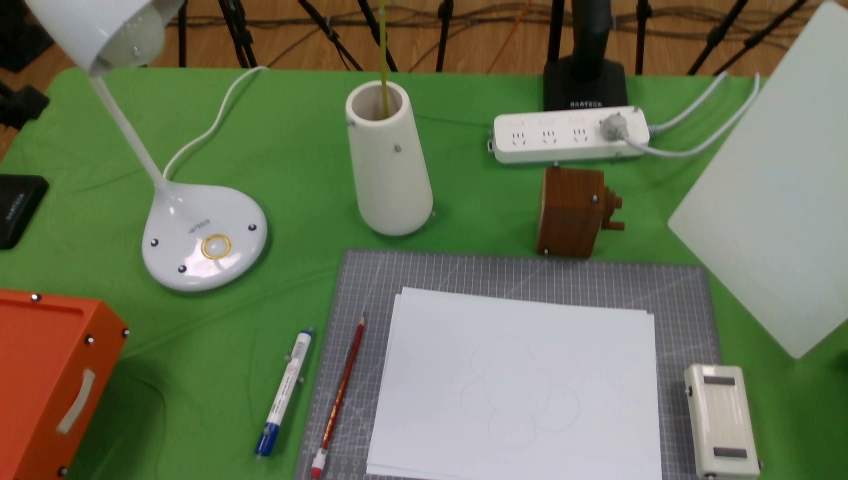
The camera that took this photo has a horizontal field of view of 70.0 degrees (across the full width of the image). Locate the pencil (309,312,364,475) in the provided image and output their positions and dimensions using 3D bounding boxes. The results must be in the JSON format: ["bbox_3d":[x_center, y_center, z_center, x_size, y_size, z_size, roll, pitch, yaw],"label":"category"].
[{"bbox_3d":[-0.094,0.163,0.676,0.012,0.012,0.192,8,56,10],"label":"pencil"}]

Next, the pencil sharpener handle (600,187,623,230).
[{"bbox_3d":[0.225,-0.035,0.716,0.030,0.068,0.035,5,55,7],"label":"pencil sharpener handle"}]

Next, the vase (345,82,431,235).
[{"bbox_3d":[-0.046,-0.093,0.733,0.098,0.202,0.097,-3,55,4],"label":"vase"}]

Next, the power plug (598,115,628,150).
[{"bbox_3d":[0.251,-0.136,0.813,0.035,0.053,0.072,6,58,9],"label":"power plug"}]

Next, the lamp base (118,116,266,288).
[{"bbox_3d":[-0.303,-0.056,0.738,0.178,0.182,0.160,32,64,26],"label":"lamp base"}]

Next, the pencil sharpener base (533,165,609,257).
[{"bbox_3d":[0.176,-0.033,0.732,0.076,0.108,0.061,5,56,7],"label":"pencil sharpener base"}]

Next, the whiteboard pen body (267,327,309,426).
[{"bbox_3d":[-0.155,0.161,0.677,0.017,0.017,0.139,7,53,9],"label":"whiteboard pen body"}]

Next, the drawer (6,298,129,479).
[{"bbox_3d":[-0.447,0.147,0.619,0.211,0.074,0.193,5,58,8],"label":"drawer"}]

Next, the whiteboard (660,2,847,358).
[{"bbox_3d":[0.447,-0.059,0.647,0.144,0.307,0.215,-13,54,-28],"label":"whiteboard"}]

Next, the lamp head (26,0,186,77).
[{"bbox_3d":[-0.274,-0.211,0.490,0.123,0.112,0.112,44,63,-14],"label":"lamp head"}]

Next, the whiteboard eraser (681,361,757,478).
[{"bbox_3d":[0.297,0.181,0.616,0.055,0.042,0.111,4,57,5],"label":"whiteboard eraser"}]

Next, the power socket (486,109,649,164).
[{"bbox_3d":[0.201,-0.145,0.850,0.227,0.033,0.071,-2,57,2],"label":"power socket"}]

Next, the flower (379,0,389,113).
[{"bbox_3d":[-0.043,-0.153,0.674,0.038,0.365,0.043,-6,38,-8],"label":"flower"}]

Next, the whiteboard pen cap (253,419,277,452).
[{"bbox_3d":[-0.167,0.206,0.642,0.018,0.018,0.033,7,51,9],"label":"whiteboard pen cap"}]

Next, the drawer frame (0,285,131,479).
[{"bbox_3d":[-0.453,0.149,0.620,0.213,0.083,0.200,6,58,6],"label":"drawer frame"}]
